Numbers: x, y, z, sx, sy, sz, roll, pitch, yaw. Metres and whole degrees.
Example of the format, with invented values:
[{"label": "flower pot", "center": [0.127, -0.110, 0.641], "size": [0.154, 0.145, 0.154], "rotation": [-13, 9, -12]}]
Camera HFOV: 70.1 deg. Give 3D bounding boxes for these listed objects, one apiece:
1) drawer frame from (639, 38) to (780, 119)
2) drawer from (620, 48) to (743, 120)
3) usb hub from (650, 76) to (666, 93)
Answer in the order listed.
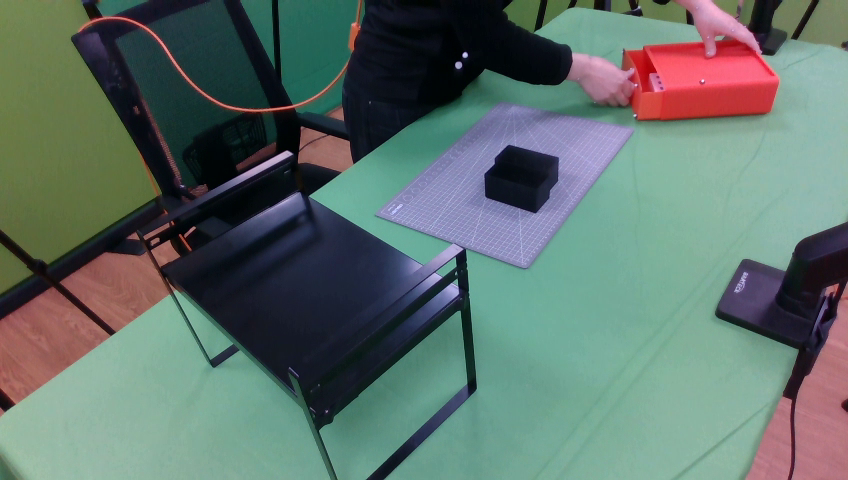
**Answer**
[{"label": "drawer frame", "center": [0.564, -0.329, 1.226], "size": [0.213, 0.083, 0.201], "rotation": [-2, 41, 5]}, {"label": "drawer", "center": [0.524, -0.324, 1.234], "size": [0.211, 0.073, 0.193], "rotation": [-1, 41, 5]}, {"label": "usb hub", "center": [0.494, -0.308, 1.234], "size": [0.049, 0.025, 0.125], "rotation": [-6, 31, 17]}]
